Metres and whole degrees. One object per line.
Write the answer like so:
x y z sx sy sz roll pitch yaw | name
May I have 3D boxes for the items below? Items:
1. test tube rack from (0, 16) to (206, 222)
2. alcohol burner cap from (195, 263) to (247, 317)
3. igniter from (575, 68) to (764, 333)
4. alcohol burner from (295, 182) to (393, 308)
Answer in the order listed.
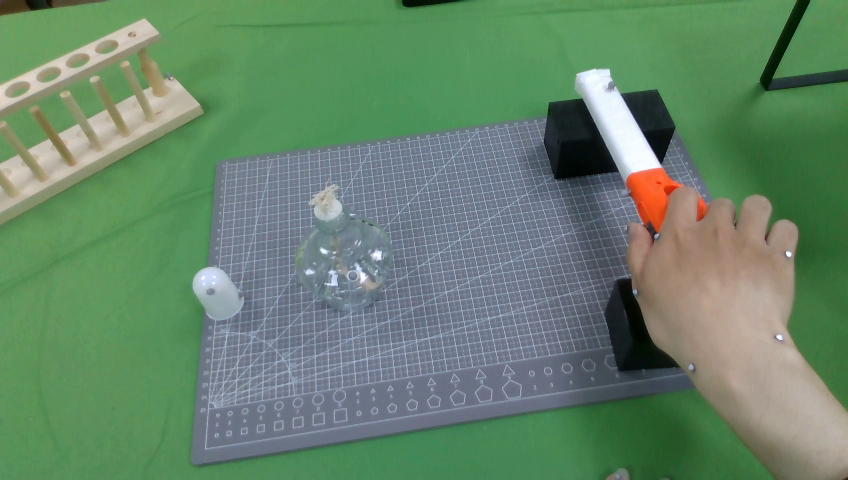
-0.348 -0.115 0.587 0.242 0.086 0.066 -36 60 -20 | test tube rack
-0.166 0.037 0.491 0.034 0.048 0.033 -2 56 3 | alcohol burner cap
0.180 -0.045 0.476 0.057 0.025 0.273 -12 53 -3 | igniter
-0.064 0.000 0.466 0.078 0.120 0.077 -2 53 3 | alcohol burner
